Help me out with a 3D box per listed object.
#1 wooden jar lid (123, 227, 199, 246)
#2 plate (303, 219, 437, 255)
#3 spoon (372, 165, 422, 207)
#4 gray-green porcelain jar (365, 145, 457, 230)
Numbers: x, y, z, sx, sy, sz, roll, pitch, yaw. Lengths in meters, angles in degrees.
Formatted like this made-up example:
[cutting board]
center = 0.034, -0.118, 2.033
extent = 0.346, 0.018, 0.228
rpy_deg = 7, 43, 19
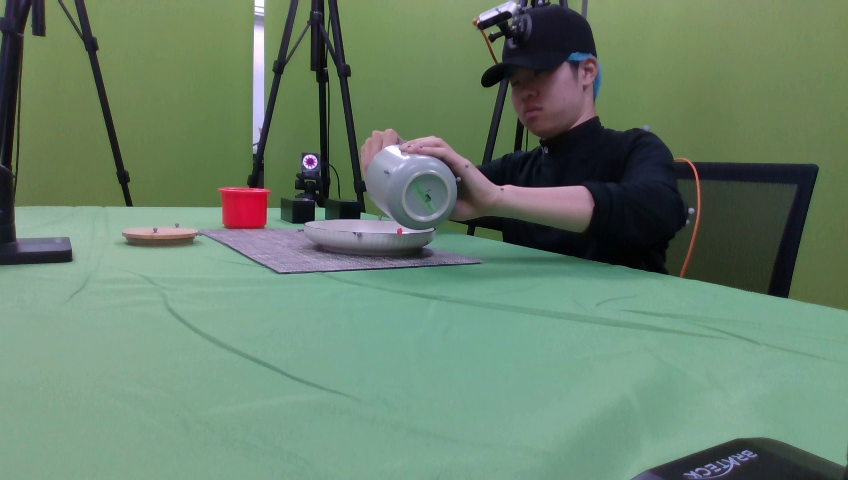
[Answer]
[wooden jar lid]
center = -0.408, -0.006, 0.942
extent = 0.108, 0.020, 0.108
rpy_deg = 3, 6, 0
[plate]
center = -0.084, -0.005, 0.952
extent = 0.208, 0.039, 0.207
rpy_deg = 3, 7, 0
[spoon]
center = -0.049, -0.086, 0.914
extent = 0.042, 0.021, 0.193
rpy_deg = 17, 11, -28
[gray-green porcelain jar]
center = -0.019, -0.075, 0.861
extent = 0.106, 0.106, 0.126
rpy_deg = 0, 16, -21
